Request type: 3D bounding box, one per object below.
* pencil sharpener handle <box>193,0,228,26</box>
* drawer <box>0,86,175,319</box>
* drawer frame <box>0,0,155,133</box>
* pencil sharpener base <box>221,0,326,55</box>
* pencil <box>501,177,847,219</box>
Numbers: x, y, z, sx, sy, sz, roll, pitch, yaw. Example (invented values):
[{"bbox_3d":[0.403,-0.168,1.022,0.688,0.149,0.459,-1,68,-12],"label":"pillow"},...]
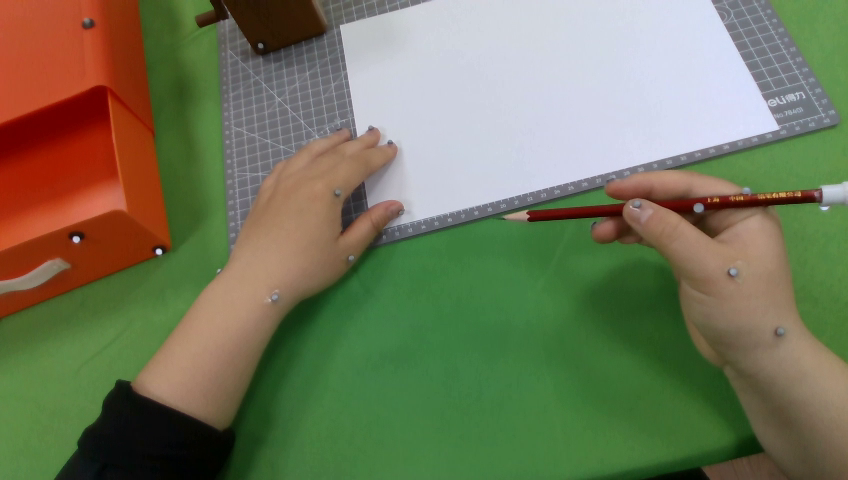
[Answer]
[{"bbox_3d":[-0.188,-0.206,0.497,0.030,0.068,0.035,-20,60,3],"label":"pencil sharpener handle"},{"bbox_3d":[-0.320,-0.055,0.488,0.194,0.074,0.209,-22,63,2],"label":"drawer"},{"bbox_3d":[-0.358,-0.153,0.538,0.201,0.083,0.211,-22,63,2],"label":"drawer frame"},{"bbox_3d":[-0.138,-0.219,0.506,0.076,0.108,0.061,-20,63,3],"label":"pencil sharpener base"},{"bbox_3d":[0.136,-0.021,0.326,0.193,0.012,0.012,-4,65,19],"label":"pencil"}]
